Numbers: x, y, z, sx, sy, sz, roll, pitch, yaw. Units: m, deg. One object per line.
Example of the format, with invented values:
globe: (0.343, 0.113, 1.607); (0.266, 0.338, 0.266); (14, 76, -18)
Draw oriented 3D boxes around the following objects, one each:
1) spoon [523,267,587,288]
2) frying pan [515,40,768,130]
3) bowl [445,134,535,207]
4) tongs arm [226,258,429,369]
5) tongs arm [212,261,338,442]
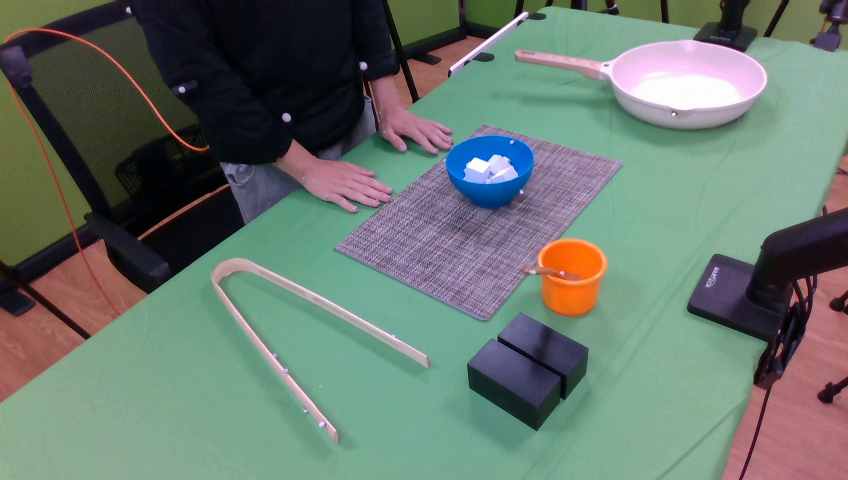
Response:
spoon: (0.170, 0.046, 0.793); (0.041, 0.195, 0.021); (21, 92, 33)
frying pan: (0.423, -0.337, 1.236); (0.486, 0.103, 0.307); (16, 44, 13)
bowl: (0.113, -0.109, 1.029); (0.151, 0.077, 0.150); (-4, 40, 4)
tongs arm: (-0.150, 0.098, 0.873); (0.384, 0.028, 0.028); (22, 50, 30)
tongs arm: (-0.208, 0.136, 0.830); (0.051, 0.026, 0.381); (-31, 45, -28)
